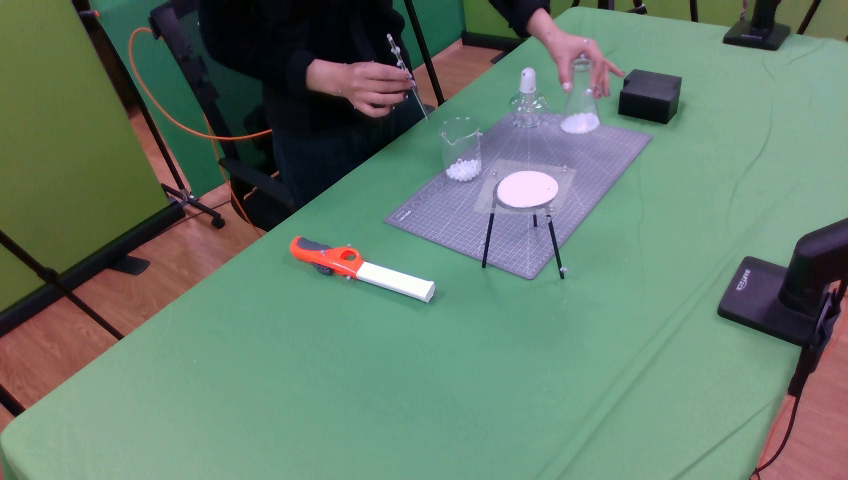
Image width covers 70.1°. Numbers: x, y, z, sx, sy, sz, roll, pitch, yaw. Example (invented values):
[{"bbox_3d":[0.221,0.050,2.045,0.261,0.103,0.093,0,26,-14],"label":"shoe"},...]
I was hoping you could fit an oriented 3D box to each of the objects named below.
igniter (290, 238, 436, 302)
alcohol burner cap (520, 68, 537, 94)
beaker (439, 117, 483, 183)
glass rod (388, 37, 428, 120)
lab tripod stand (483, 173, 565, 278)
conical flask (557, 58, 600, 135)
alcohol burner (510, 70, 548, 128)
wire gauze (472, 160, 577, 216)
[{"bbox_3d":[-0.106,0.044,0.949,0.274,0.025,0.057,16,56,27],"label":"igniter"},{"bbox_3d":[0.205,-0.313,1.183,0.034,0.048,0.033,-3,50,4],"label":"alcohol burner cap"},{"bbox_3d":[0.068,-0.160,1.097,0.073,0.101,0.084,7,43,19],"label":"beaker"},{"bbox_3d":[-0.025,-0.271,1.037,0.008,0.201,0.008,-9,59,15],"label":"glass rod"},{"bbox_3d":[0.151,-0.025,0.896,0.148,0.132,0.147,-7,40,6],"label":"lab tripod stand"},{"bbox_3d":[0.268,-0.250,1.049,0.075,0.122,0.075,-6,37,5],"label":"conical flask"},{"bbox_3d":[0.209,-0.287,1.207,0.078,0.119,0.077,-5,42,5],"label":"alcohol burner"},{"bbox_3d":[0.143,-0.073,0.850,0.121,0.011,0.125,8,43,22],"label":"wire gauze"}]
